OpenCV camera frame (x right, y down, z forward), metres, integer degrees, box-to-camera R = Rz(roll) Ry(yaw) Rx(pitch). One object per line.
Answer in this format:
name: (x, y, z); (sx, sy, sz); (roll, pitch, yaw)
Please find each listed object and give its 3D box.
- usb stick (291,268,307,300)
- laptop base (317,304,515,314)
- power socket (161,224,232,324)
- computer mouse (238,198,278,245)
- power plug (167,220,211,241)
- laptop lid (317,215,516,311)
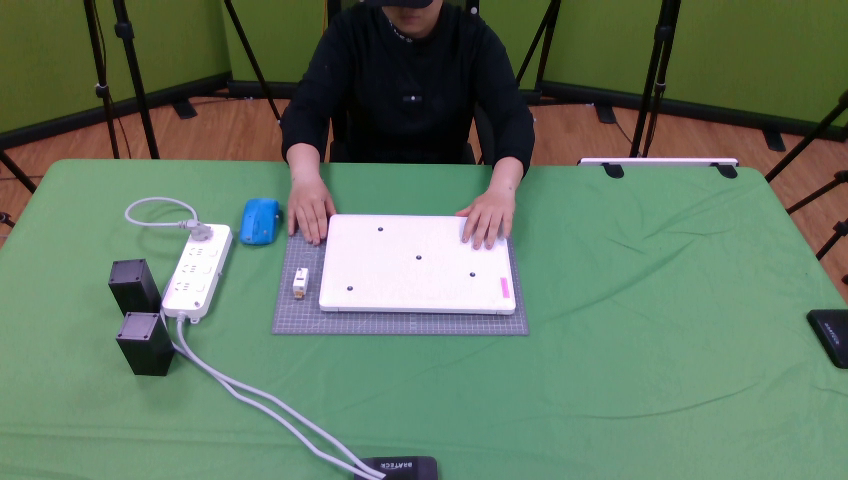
usb stick: (-0.226, 0.081, 1.094); (0.021, 0.027, 0.059); (5, 48, -2)
laptop base: (-0.014, 0.050, 1.150); (0.354, 0.023, 0.234); (1, 42, -3)
power socket: (-0.411, 0.052, 1.107); (0.072, 0.033, 0.225); (4, 46, -1)
computer mouse: (-0.327, -0.040, 1.200); (0.063, 0.041, 0.116); (3, 50, -4)
power plug: (-0.438, -0.017, 1.143); (0.072, 0.053, 0.035); (9, 42, 7)
laptop lid: (-0.013, 0.037, 1.140); (0.357, 0.013, 0.240); (3, 46, -2)
